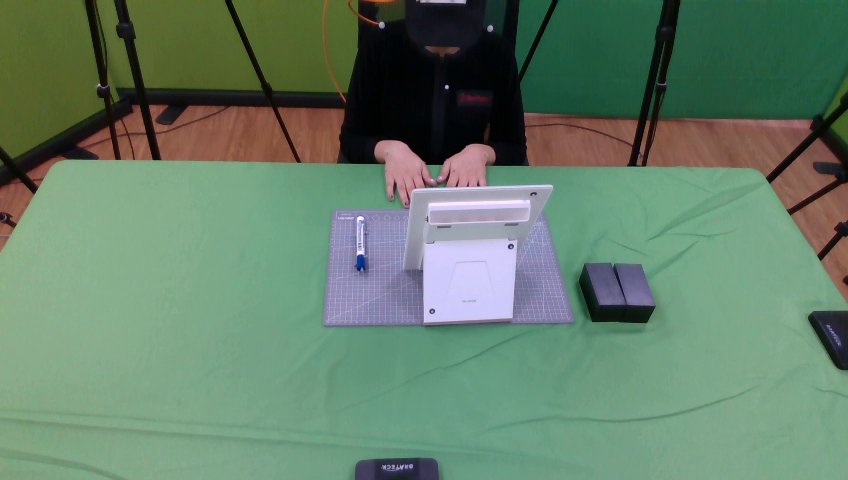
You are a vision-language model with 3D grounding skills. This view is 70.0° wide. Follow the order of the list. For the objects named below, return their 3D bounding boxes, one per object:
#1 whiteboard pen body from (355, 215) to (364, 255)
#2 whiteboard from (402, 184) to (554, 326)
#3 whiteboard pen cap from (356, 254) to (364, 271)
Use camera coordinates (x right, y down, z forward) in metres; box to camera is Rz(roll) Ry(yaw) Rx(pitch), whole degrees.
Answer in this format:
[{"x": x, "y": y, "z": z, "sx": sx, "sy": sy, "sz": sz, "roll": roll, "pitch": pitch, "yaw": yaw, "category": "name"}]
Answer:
[{"x": -0.125, "y": 0.001, "z": 1.186, "sx": 0.017, "sy": 0.017, "sz": 0.140, "roll": -2, "pitch": 44, "yaw": -5, "category": "whiteboard pen body"}, {"x": 0.081, "y": 0.044, "z": 1.005, "sx": 0.217, "sy": 0.306, "sz": 0.143, "roll": -1, "pitch": 65, "yaw": -6, "category": "whiteboard"}, {"x": -0.120, "y": 0.042, "z": 1.144, "sx": 0.018, "sy": 0.018, "sz": 0.033, "roll": -1, "pitch": 43, "yaw": -5, "category": "whiteboard pen cap"}]
